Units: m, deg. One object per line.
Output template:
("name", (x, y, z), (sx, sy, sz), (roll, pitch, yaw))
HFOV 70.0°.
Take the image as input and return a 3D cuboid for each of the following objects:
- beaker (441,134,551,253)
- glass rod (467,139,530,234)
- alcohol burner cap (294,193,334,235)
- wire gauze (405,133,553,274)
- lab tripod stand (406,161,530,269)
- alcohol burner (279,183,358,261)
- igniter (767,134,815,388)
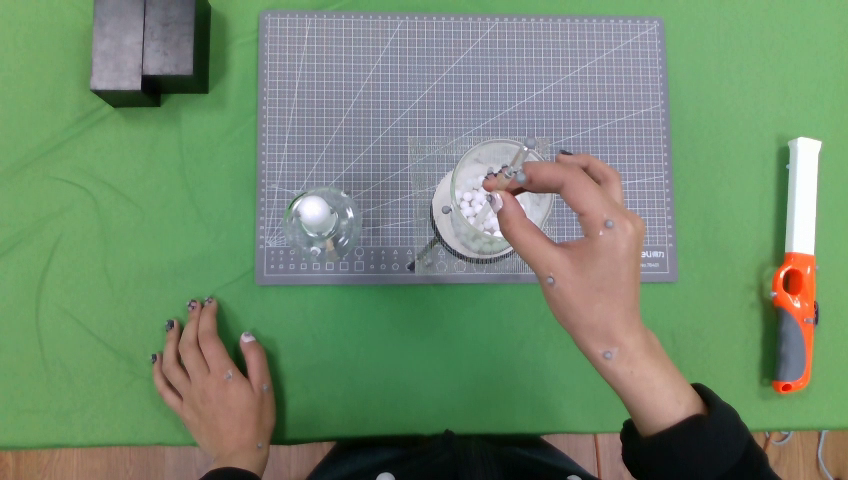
("beaker", (0.052, -0.028, 0.471), (0.074, 0.100, 0.084), (-32, 85, -6))
("glass rod", (0.046, -0.028, 0.410), (0.008, 0.200, 0.008), (1, 77, -4))
("alcohol burner cap", (-0.102, -0.025, 0.550), (0.034, 0.048, 0.033), (0, 79, -1))
("wire gauze", (0.047, -0.032, 0.519), (0.125, 0.011, 0.121), (-1, 82, -1))
("lab tripod stand", (0.043, -0.021, 0.584), (0.148, 0.132, 0.148), (0, 82, -1))
("alcohol burner", (-0.104, -0.021, 0.586), (0.078, 0.119, 0.077), (1, 81, -3))
("igniter", (0.399, 0.021, 0.655), (0.057, 0.025, 0.276), (8, 83, -13))
